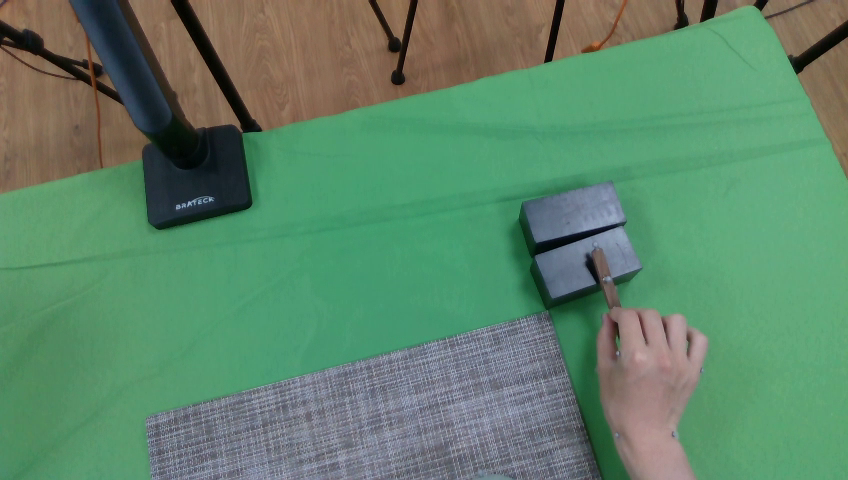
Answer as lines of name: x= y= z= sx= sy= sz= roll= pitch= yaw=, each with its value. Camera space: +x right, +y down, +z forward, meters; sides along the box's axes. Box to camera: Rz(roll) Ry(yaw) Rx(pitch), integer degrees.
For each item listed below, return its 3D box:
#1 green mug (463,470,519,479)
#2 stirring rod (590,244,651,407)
green mug: x=0.072 y=0.272 z=0.547 sx=0.092 sy=0.105 sz=0.124 roll=-31 pitch=73 yaw=-7
stirring rod: x=0.202 y=0.088 z=0.621 sx=0.014 sy=0.006 sz=0.176 roll=-21 pitch=94 yaw=-28
